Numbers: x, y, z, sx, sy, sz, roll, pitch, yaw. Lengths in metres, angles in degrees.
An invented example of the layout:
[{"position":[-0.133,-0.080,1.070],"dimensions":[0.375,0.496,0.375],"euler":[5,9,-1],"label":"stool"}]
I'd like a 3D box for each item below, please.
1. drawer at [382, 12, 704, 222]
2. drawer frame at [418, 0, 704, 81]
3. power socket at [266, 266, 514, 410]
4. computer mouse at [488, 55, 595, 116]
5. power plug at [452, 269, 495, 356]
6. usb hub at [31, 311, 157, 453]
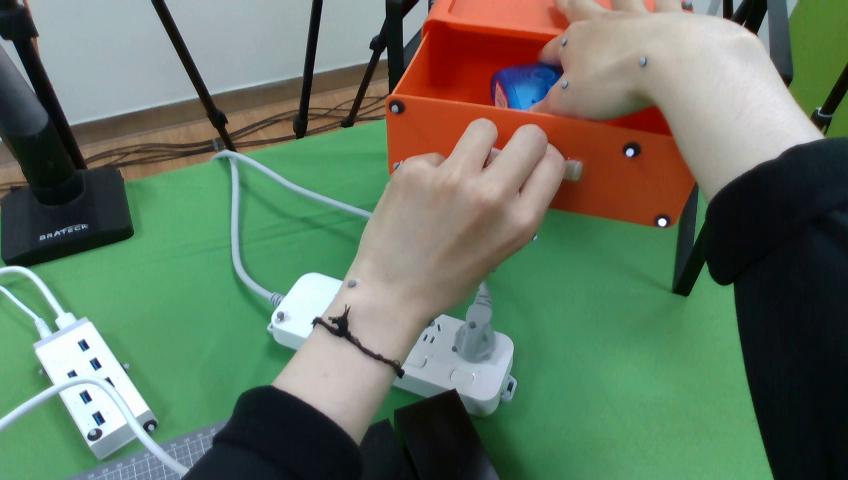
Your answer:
[{"position":[0.092,-0.121,0.450],"dimensions":[0.194,0.074,0.210],"euler":[11,47,9],"label":"drawer"},{"position":[0.114,-0.194,0.517],"dimensions":[0.201,0.083,0.212],"euler":[9,46,7],"label":"drawer frame"},{"position":[-0.030,0.082,0.530],"dimensions":[0.226,0.033,0.072],"euler":[17,47,15],"label":"power socket"},{"position":[0.089,-0.100,0.449],"dimensions":[0.063,0.041,0.116],"euler":[-5,51,-9],"label":"computer mouse"},{"position":[0.051,0.068,0.516],"dimensions":[0.035,0.053,0.072],"euler":[26,52,23],"label":"power plug"},{"position":[-0.273,0.112,0.497],"dimensions":[0.049,0.025,0.124],"euler":[-33,55,-29],"label":"usb hub"}]
